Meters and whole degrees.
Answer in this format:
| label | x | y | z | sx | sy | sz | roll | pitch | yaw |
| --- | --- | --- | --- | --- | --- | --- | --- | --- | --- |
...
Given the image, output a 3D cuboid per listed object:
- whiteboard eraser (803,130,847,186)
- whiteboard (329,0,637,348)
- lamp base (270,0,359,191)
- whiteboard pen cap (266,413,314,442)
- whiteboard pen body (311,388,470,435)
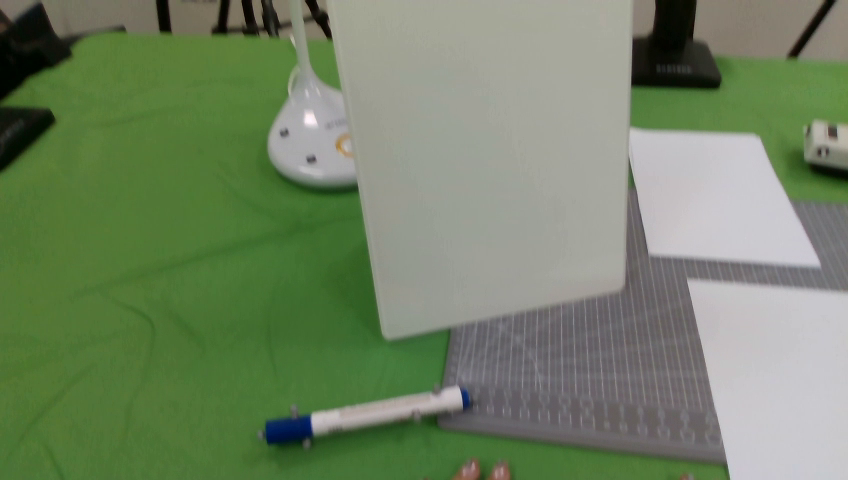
| label | x | y | z | sx | sy | sz | roll | pitch | yaw |
| --- | --- | --- | --- | --- | --- | --- | --- | --- | --- |
| whiteboard eraser | 0.465 | -0.081 | 0.640 | 0.112 | 0.042 | 0.055 | 16 | 46 | 18 |
| whiteboard | 0.043 | -0.095 | 0.513 | 0.217 | 0.307 | 0.142 | -10 | 23 | -8 |
| lamp base | -0.106 | -0.171 | 0.652 | 0.161 | 0.182 | 0.177 | -30 | 47 | -27 |
| whiteboard pen cap | -0.094 | 0.132 | 0.429 | 0.033 | 0.018 | 0.018 | -6 | 42 | -11 |
| whiteboard pen body | -0.036 | 0.126 | 0.438 | 0.141 | 0.017 | 0.017 | -7 | 42 | -9 |
